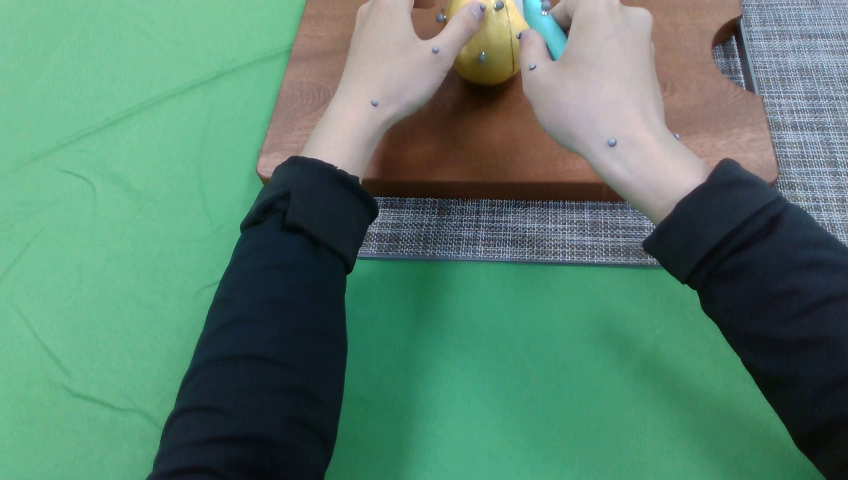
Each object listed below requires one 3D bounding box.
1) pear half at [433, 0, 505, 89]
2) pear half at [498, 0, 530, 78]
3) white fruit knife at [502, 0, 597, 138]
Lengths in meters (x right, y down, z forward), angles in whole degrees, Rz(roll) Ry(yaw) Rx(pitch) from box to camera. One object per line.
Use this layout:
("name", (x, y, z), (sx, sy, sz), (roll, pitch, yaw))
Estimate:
("pear half", (0.035, -0.173, 0.479), (0.056, 0.111, 0.075), (-14, 54, -4))
("pear half", (0.071, -0.176, 0.487), (0.031, 0.089, 0.069), (-16, 55, -2))
("white fruit knife", (0.067, -0.158, 0.419), (0.016, 0.027, 0.205), (-17, 65, -14))
